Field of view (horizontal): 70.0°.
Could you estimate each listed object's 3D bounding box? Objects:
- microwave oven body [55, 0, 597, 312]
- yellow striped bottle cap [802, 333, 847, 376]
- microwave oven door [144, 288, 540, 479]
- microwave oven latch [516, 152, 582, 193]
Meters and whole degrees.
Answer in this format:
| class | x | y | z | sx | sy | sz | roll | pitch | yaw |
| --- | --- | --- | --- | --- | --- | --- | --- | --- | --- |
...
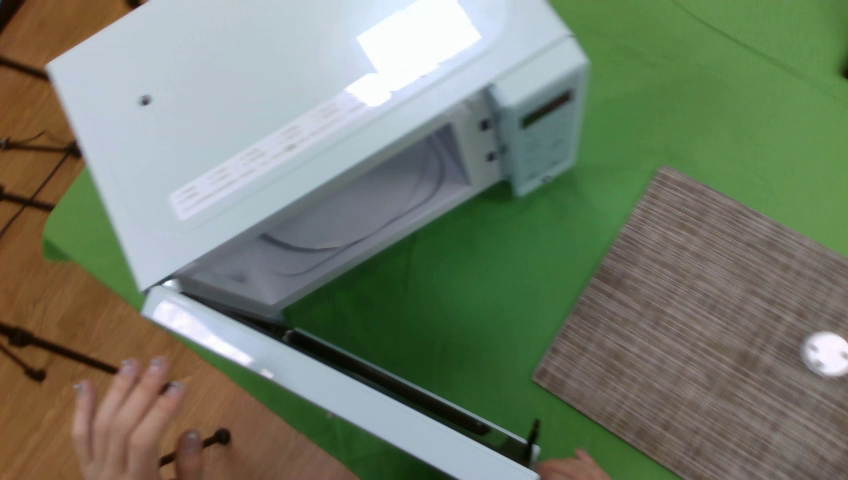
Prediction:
| class | x | y | z | sx | sy | sz | roll | pitch | yaw |
| --- | --- | --- | --- | --- | --- | --- | --- | --- | --- |
| microwave oven body | -0.093 | -0.145 | 0.672 | 0.442 | 0.262 | 0.324 | -30 | 73 | 2 |
| yellow striped bottle cap | 0.427 | 0.121 | 0.641 | 0.044 | 0.019 | 0.044 | -3 | 75 | 11 |
| microwave oven door | -0.059 | 0.144 | 0.587 | 0.354 | 0.245 | 0.039 | 23 | 80 | 15 |
| microwave oven latch | 0.147 | -0.087 | 0.716 | 0.079 | 0.030 | 0.030 | -28 | 73 | 3 |
